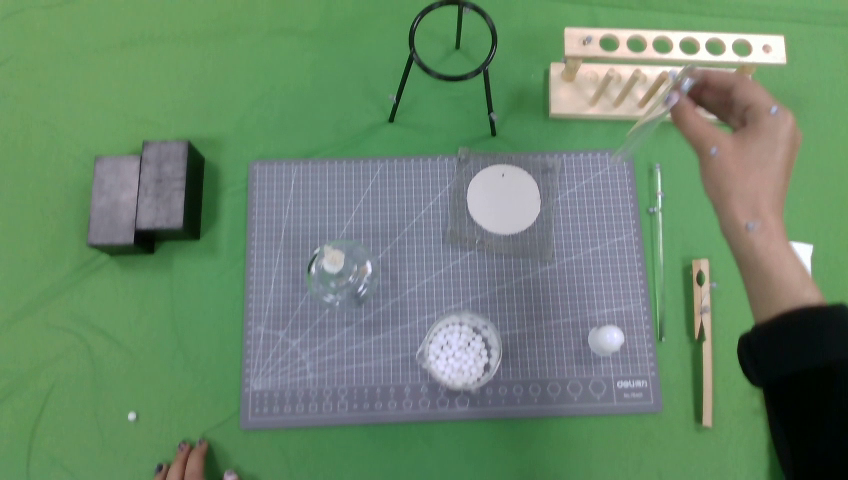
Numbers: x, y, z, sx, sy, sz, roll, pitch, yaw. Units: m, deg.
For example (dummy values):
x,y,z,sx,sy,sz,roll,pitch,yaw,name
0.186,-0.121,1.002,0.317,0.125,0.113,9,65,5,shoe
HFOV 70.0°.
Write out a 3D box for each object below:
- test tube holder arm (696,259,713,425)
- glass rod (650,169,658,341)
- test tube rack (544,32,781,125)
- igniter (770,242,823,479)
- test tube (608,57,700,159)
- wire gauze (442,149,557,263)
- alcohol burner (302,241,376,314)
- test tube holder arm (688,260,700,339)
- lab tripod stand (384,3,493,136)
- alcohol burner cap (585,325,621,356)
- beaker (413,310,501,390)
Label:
x,y,z,sx,sy,sz,roll,pitch,yaw,name
0.305,0.110,0.662,0.013,0.015,0.177,-7,75,34,test tube holder arm
0.262,0.014,0.690,0.008,0.008,0.199,3,79,0,glass rod
0.267,-0.184,0.697,0.242,0.085,0.066,1,76,0,test tube rack
0.400,0.138,0.654,0.057,0.025,0.275,8,77,-9,igniter
0.193,-0.108,0.523,0.017,0.151,0.017,2,71,-5,test tube
0.088,-0.042,0.699,0.125,0.011,0.121,9,78,1,wire gauze
-0.091,0.035,0.624,0.078,0.119,0.077,0,75,2,alcohol burner
0.302,0.066,0.675,0.010,0.015,0.087,-6,75,34,test tube holder arm
0.021,-0.180,0.669,0.148,0.132,0.147,0,78,0,lab tripod stand
0.194,0.106,0.648,0.034,0.048,0.033,0,76,-1,alcohol burner cap
0.031,0.116,0.614,0.084,0.101,0.073,-10,76,-2,beaker
